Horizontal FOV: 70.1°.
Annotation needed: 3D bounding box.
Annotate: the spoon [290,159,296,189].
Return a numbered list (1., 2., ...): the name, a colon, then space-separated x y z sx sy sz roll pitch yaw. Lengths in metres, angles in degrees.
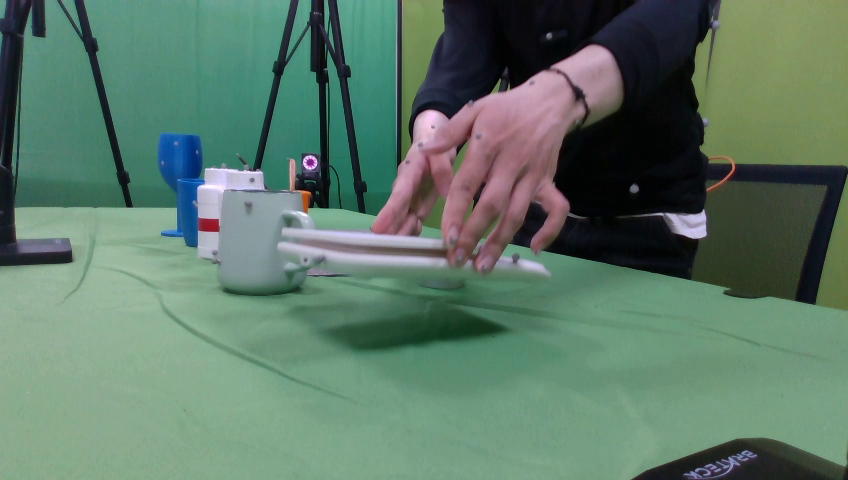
1. spoon: -0.273 -0.102 1.252 0.042 0.193 0.021 7 -39 -17

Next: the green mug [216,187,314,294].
1. green mug: -0.157 0.000 0.629 0.124 0.105 0.093 7 9 37

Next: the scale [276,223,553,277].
1. scale: -0.008 0.008 0.505 0.202 0.031 0.148 3 2 -34

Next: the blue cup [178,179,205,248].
1. blue cup: -0.334 -0.042 0.936 0.093 0.100 0.092 3 8 0

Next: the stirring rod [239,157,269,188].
1. stirring rod: -0.309 -0.098 1.209 0.006 0.177 0.014 -39 29 -4

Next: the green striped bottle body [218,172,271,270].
1. green striped bottle body: -0.223 -0.025 0.755 0.063 0.119 0.063 1 7 0

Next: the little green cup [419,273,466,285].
1. little green cup: 0.021 0.029 0.702 0.061 0.038 0.061 1 6 0

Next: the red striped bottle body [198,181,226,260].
1. red striped bottle body: -0.275 -0.035 0.827 0.063 0.119 0.063 1 6 0

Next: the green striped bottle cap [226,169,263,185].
1. green striped bottle cap: -0.222 -0.077 0.747 0.044 0.020 0.044 2 6 0

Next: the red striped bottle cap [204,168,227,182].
1. red striped bottle cap: -0.275 -0.088 0.821 0.044 0.017 0.044 4 6 0

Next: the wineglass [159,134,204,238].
1. wineglass: -0.415 -0.093 1.040 0.074 0.172 0.073 2 8 0
